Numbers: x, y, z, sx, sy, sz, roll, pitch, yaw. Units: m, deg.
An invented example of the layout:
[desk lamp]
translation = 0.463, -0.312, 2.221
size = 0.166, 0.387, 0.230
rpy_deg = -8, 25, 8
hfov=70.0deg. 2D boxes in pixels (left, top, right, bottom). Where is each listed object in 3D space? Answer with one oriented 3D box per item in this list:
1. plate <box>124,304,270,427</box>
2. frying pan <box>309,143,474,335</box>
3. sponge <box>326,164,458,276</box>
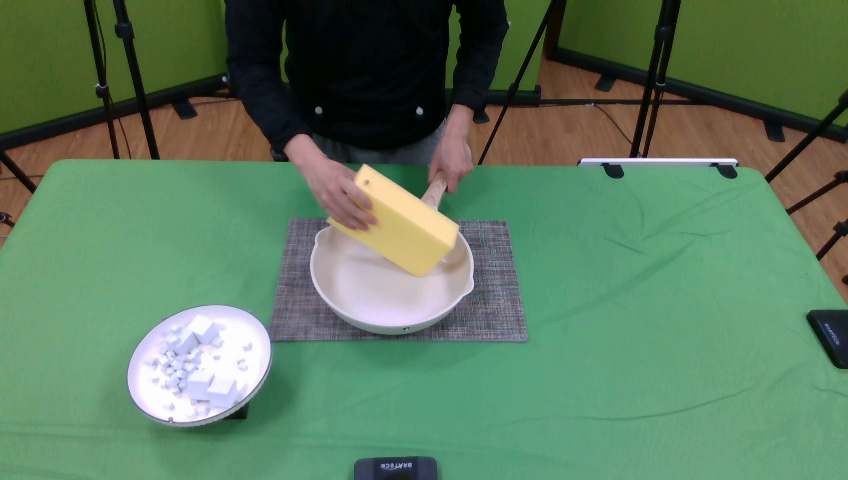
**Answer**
[plate]
translation = -0.336, 0.189, 0.913
size = 0.208, 0.039, 0.206
rpy_deg = 1, 46, -1
[frying pan]
translation = -0.017, -0.022, 1.155
size = 0.306, 0.103, 0.486
rpy_deg = 20, 56, 13
[sponge]
translation = -0.056, -0.030, 1.087
size = 0.207, 0.118, 0.060
rpy_deg = 32, 45, -17
